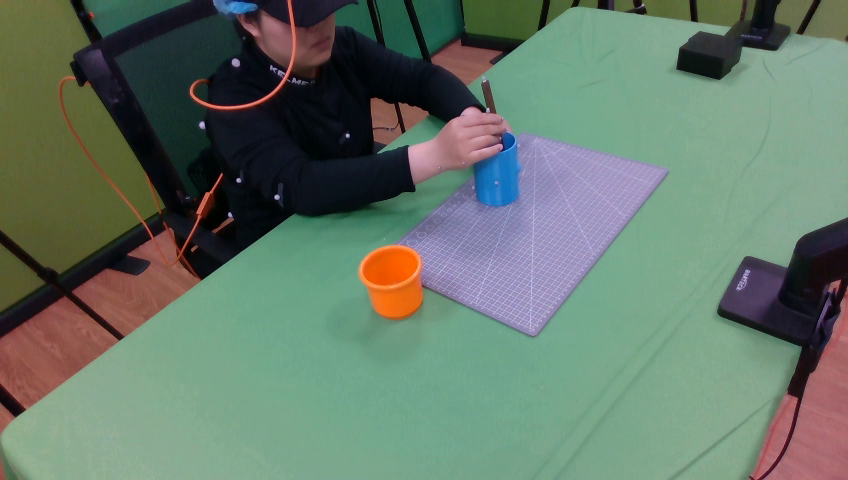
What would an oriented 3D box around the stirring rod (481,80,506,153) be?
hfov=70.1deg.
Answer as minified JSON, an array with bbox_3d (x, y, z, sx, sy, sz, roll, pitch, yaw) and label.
[{"bbox_3d":[0.119,-0.183,0.994,0.014,0.177,0.005,-36,40,-18],"label":"stirring rod"}]

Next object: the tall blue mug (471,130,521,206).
[{"bbox_3d":[0.118,-0.132,1.046,0.078,0.108,0.106,-19,41,-10],"label":"tall blue mug"}]
